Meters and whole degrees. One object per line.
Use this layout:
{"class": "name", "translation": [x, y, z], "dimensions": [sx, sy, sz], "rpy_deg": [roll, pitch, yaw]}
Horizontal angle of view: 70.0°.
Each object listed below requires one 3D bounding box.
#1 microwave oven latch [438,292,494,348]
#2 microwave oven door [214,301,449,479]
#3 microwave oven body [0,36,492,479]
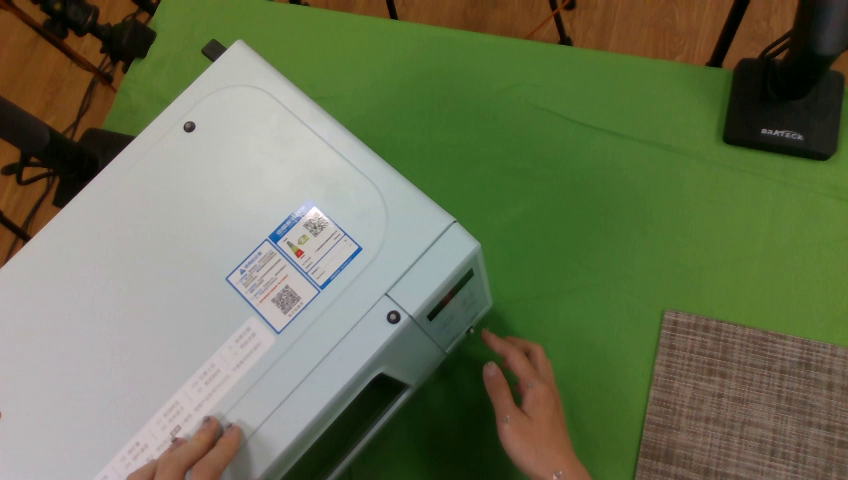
{"class": "microwave oven latch", "translation": [0.043, 0.082, 0.668], "dimensions": [0.079, 0.030, 0.030], "rpy_deg": [-45, 72, -5]}
{"class": "microwave oven door", "translation": [-0.123, 0.209, 0.548], "dimensions": [0.039, 0.245, 0.355], "rpy_deg": [41, 83, 19]}
{"class": "microwave oven body", "translation": [-0.199, 0.090, 0.601], "dimensions": [0.324, 0.262, 0.441], "rpy_deg": [41, 84, 17]}
